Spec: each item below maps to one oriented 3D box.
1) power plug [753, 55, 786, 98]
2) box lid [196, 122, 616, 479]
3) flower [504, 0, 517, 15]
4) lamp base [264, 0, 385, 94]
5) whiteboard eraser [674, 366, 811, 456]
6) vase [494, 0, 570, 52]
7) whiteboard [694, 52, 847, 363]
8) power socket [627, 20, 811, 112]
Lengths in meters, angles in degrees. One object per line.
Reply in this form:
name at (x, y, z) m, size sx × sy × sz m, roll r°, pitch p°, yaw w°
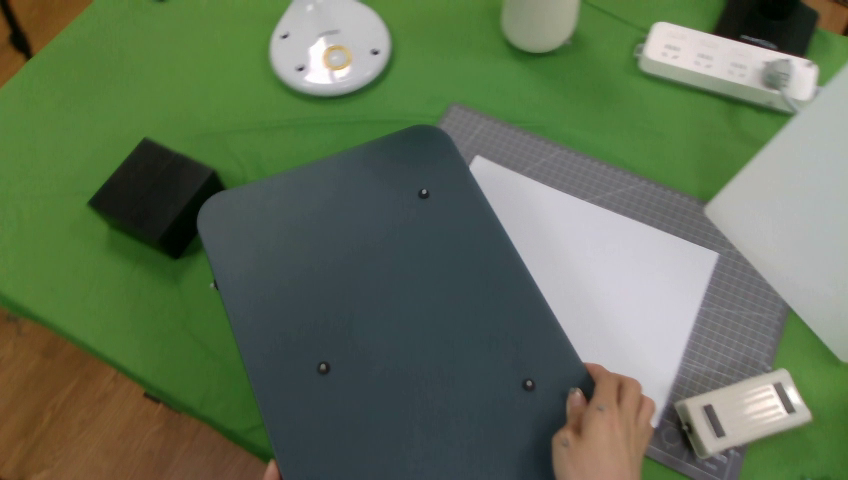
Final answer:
power plug at (0.411, -0.193, 0.733) m, size 0.035 × 0.053 × 0.072 m, roll 29°, pitch 74°, yaw 15°
box lid at (-0.027, 0.067, 0.534) m, size 0.263 × 0.015 × 0.368 m, roll -22°, pitch 68°, yaw -13°
flower at (0.148, -0.351, 0.660) m, size 0.044 × 0.362 × 0.038 m, roll -14°, pitch 81°, yaw -14°
lamp base at (-0.141, -0.303, 0.746) m, size 0.161 × 0.182 × 0.177 m, roll -26°, pitch 63°, yaw -11°
whiteboard eraser at (0.301, 0.162, 0.577) m, size 0.113 × 0.042 × 0.055 m, roll -16°, pitch 63°, yaw -6°
vase at (0.138, -0.329, 0.740) m, size 0.098 × 0.201 × 0.097 m, roll -1°, pitch 62°, yaw 3°
whiteboard at (0.464, -0.063, 0.575) m, size 0.144 × 0.307 × 0.215 m, roll -19°, pitch 62°, yaw -30°
power socket at (0.376, -0.224, 0.775) m, size 0.226 × 0.033 × 0.072 m, roll 19°, pitch 67°, yaw 10°
